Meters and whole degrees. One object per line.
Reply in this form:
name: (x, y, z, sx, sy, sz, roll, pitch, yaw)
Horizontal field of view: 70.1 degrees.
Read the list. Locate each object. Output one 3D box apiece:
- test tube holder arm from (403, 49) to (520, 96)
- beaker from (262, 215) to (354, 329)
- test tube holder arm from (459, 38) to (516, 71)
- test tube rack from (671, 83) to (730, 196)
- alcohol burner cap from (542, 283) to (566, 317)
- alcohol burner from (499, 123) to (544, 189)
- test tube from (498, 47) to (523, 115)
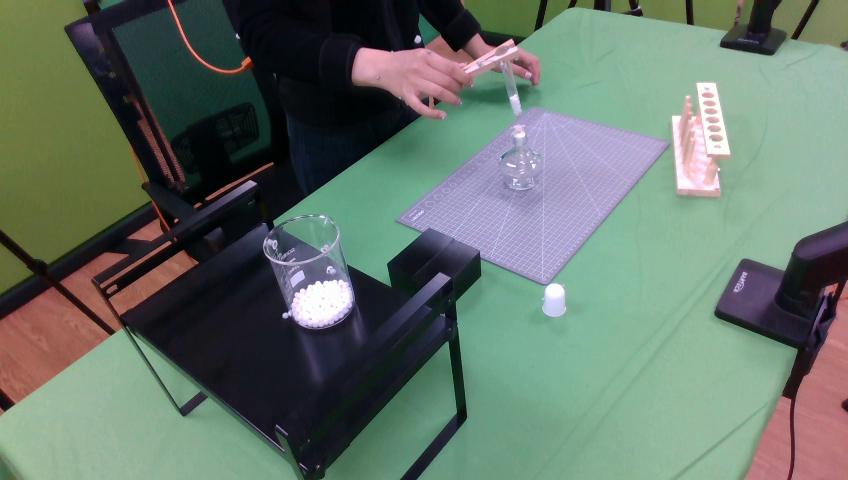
test tube holder arm: (0.052, -0.245, 0.886, 0.178, 0.015, 0.013, -17, 73, 13)
beaker: (-0.112, 0.034, 0.616, 0.073, 0.101, 0.084, 13, 44, 22)
test tube holder arm: (0.092, -0.265, 0.878, 0.087, 0.015, 0.010, -27, 72, 11)
test tube rack: (0.482, -0.184, 1.067, 0.066, 0.085, 0.242, 5, 42, 15)
alcohol burner cap: (0.181, 0.080, 0.839, 0.034, 0.048, 0.033, -4, 40, 4)
alcohol burner: (0.168, -0.149, 1.048, 0.078, 0.119, 0.077, -6, 41, 5)
test tube: (0.134, -0.241, 0.931, 0.017, 0.151, 0.017, -7, 64, 15)
